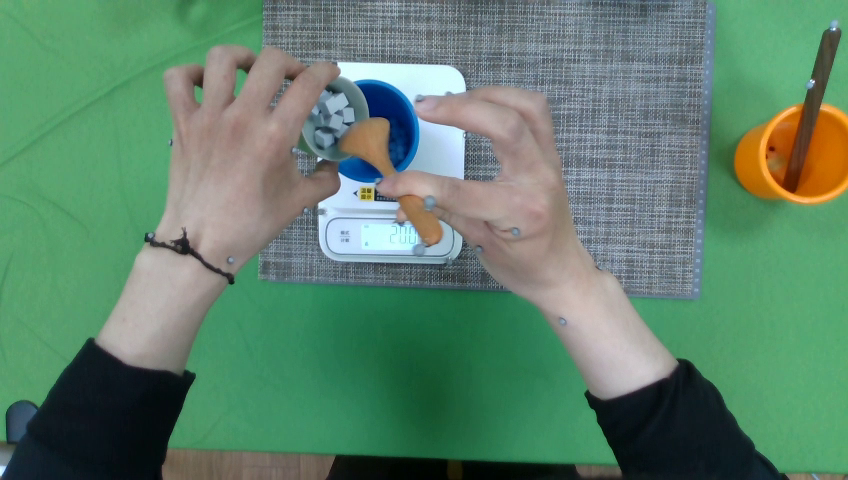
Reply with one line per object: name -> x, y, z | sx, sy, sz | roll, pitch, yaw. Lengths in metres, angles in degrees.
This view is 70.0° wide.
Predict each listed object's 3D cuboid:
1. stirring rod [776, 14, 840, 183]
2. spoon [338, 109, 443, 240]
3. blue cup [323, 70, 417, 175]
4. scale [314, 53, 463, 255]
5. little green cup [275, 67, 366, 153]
stirring rod -> 0.342, -0.118, 0.544 | 0.014, 0.005, 0.178 | -12, 135, 5
spoon -> -0.020, -0.046, 0.371 | 0.041, 0.191, 0.022 | -28, 126, -3
blue cup -> -0.044, -0.100, 0.545 | 0.092, 0.100, 0.093 | 0, 95, 3
scale -> -0.036, -0.085, 0.611 | 0.148, 0.031, 0.201 | 1, 94, 3
little green cup -> -0.078, -0.097, 0.448 | 0.038, 0.062, 0.061 | 16, 95, 39
